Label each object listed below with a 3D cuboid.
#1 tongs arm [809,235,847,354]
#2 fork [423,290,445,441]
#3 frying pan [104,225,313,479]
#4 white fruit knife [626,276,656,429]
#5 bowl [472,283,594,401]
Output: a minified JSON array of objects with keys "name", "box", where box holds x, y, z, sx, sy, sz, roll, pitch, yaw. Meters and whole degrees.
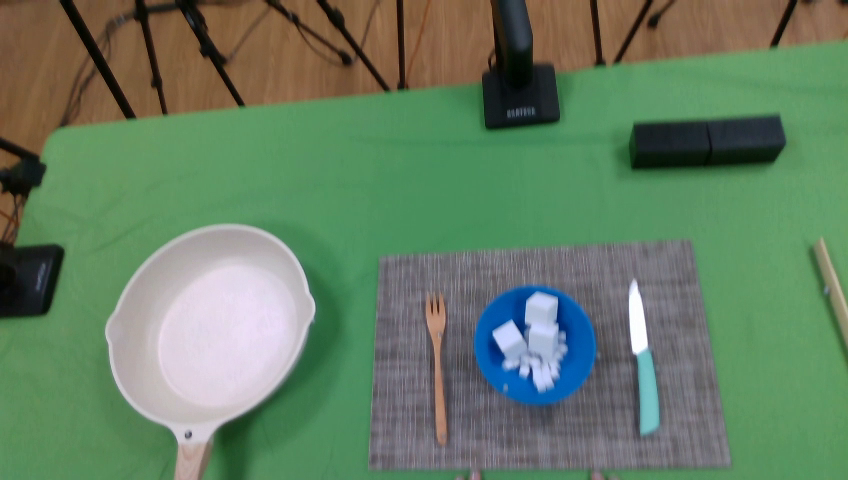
[{"name":"tongs arm","box":[0.547,0.169,0.737,0.028,0.028,0.384,-8,64,4]},{"name":"fork","box":[0.017,0.166,0.825,0.028,0.019,0.205,-2,63,-1]},{"name":"frying pan","box":[-0.298,0.207,0.814,0.306,0.104,0.483,-5,56,8]},{"name":"white fruit knife","box":[0.282,0.142,0.794,0.027,0.016,0.205,4,64,-2]},{"name":"bowl","box":[0.140,0.139,0.784,0.151,0.077,0.150,-3,65,8]}]
